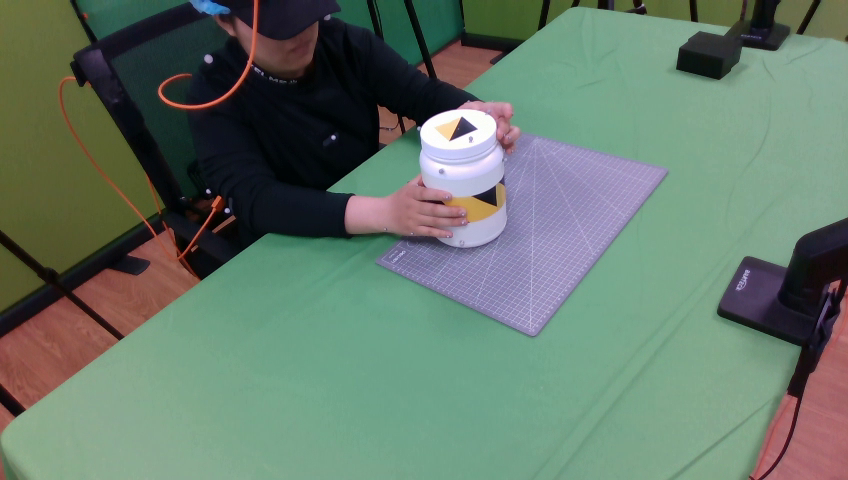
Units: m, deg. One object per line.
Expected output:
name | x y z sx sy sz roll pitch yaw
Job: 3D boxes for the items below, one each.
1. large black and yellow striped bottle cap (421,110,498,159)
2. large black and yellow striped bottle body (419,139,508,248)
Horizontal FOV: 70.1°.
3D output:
large black and yellow striped bottle cap | 0.052 -0.159 0.897 0.115 0.019 0.114 -6 39 5
large black and yellow striped bottle body | 0.063 -0.094 0.953 0.131 0.185 0.130 -6 40 5
